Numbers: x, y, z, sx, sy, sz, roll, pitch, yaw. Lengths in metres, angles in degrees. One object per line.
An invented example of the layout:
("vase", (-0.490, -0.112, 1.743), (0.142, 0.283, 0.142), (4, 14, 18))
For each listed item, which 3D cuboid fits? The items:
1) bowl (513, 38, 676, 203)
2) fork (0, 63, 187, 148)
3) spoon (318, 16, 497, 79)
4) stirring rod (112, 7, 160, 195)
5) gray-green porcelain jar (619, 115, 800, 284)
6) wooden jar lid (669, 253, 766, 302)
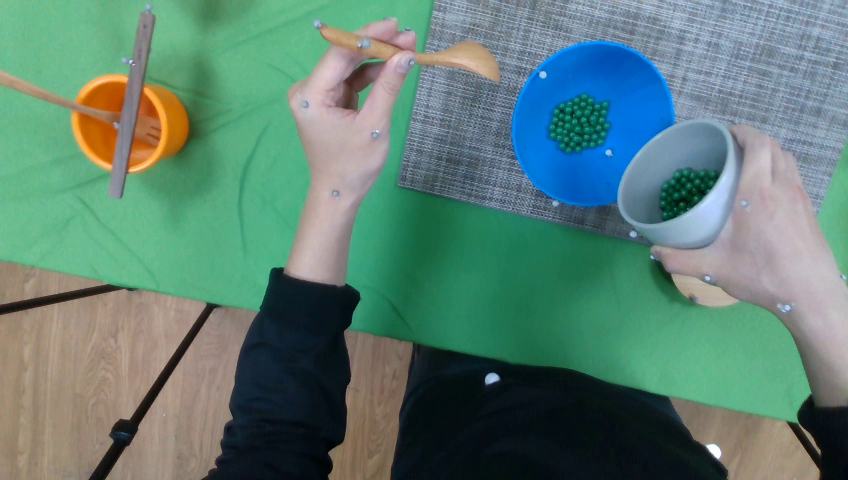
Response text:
("bowl", (0.158, -0.117, 0.595), (0.151, 0.076, 0.152), (0, 104, 1))
("fork", (-0.320, -0.130, 0.562), (0.028, 0.018, 0.209), (-49, 143, 18))
("spoon", (-0.002, -0.141, 0.448), (0.022, 0.194, 0.041), (-46, 67, 37))
("stirring rod", (-0.268, -0.126, 0.561), (0.014, 0.006, 0.176), (17, 104, -5))
("gray-green porcelain jar", (0.250, -0.029, 0.525), (0.127, 0.105, 0.106), (32, 103, -27))
("wooden jar lid", (0.320, 0.015, 0.658), (0.108, 0.020, 0.109), (1, 110, 3))
